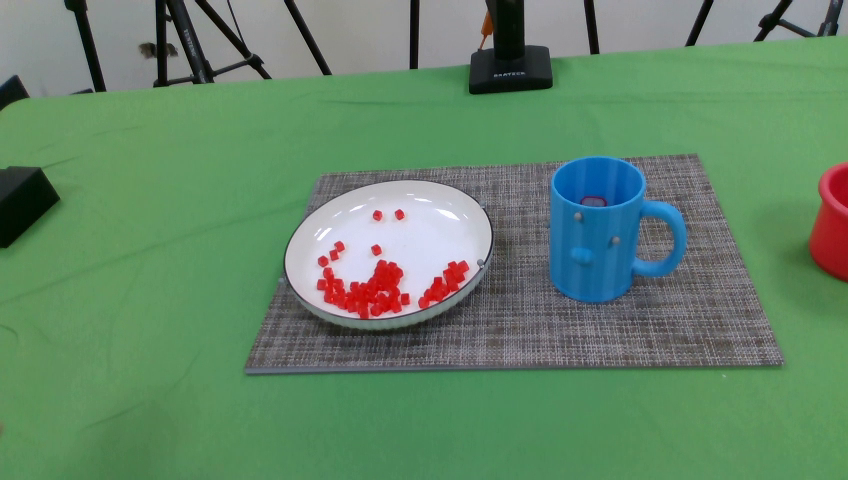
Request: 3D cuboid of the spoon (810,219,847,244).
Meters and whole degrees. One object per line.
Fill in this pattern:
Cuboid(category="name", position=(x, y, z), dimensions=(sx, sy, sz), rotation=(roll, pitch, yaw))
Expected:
Cuboid(category="spoon", position=(0.415, -0.028, 0.490), dimensions=(0.041, 0.193, 0.021), rotation=(-36, 93, -33))

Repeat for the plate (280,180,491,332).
Cuboid(category="plate", position=(-0.036, 0.015, 0.601), dimensions=(0.207, 0.039, 0.205), rotation=(-5, 40, 5))

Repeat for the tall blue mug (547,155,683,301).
Cuboid(category="tall blue mug", position=(0.164, -0.011, 0.538), dimensions=(0.107, 0.109, 0.077), rotation=(-6, 40, 3))
